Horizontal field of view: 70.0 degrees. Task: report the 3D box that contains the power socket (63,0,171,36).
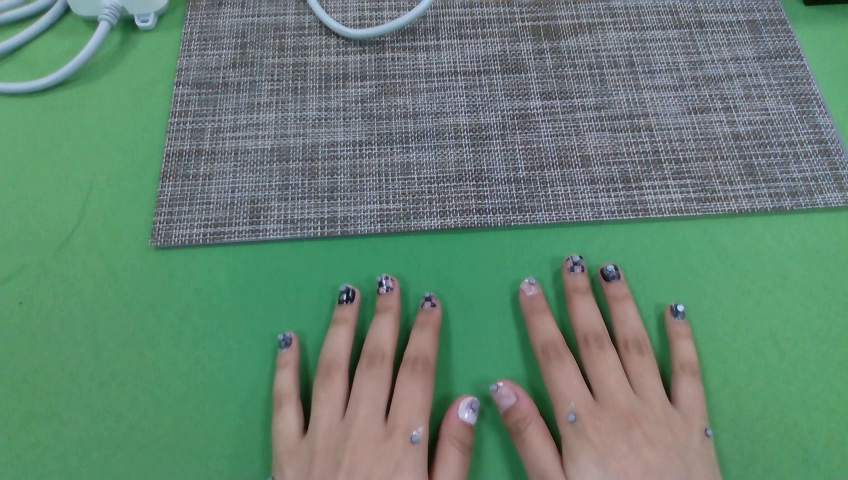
[{"bbox_3d":[-0.233,-0.258,0.487,0.072,0.033,0.225,-3,64,-1],"label":"power socket"}]
